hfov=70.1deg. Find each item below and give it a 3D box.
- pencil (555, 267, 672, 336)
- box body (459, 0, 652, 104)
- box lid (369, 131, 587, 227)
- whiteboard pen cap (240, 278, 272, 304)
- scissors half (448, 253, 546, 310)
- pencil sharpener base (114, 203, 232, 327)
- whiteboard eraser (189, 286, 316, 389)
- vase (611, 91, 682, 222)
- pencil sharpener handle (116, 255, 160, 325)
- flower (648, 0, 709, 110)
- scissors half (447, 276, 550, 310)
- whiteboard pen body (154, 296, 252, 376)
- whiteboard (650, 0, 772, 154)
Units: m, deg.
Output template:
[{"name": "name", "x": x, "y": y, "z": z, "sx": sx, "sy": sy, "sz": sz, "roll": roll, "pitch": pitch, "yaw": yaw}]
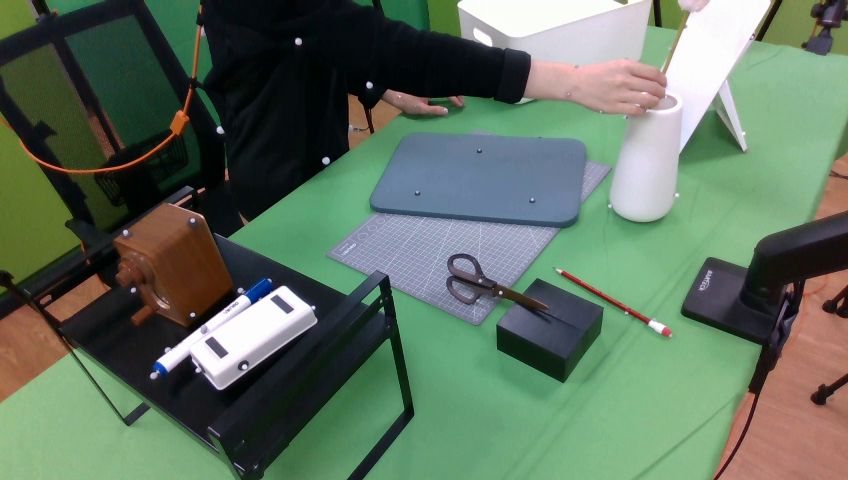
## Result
[{"name": "pencil", "x": 0.261, "y": 0.082, "z": 0.851, "sx": 0.012, "sy": 0.012, "sz": 0.192, "roll": -33, "pitch": 45, "yaw": -27}, {"name": "box body", "x": 0.291, "y": -0.465, "z": 1.371, "sx": 0.365, "sy": 0.161, "sz": 0.252, "roll": -22, "pitch": 42, "yaw": -16}, {"name": "box lid", "x": 0.107, "y": -0.120, "z": 1.107, "sx": 0.370, "sy": 0.015, "sz": 0.263, "roll": 5, "pitch": 42, "yaw": 14}, {"name": "whiteboard pen cap", "x": -0.183, "y": 0.057, "z": 0.658, "sx": 0.018, "sy": 0.018, "sz": 0.033, "roll": 19, "pitch": 44, "yaw": 28}, {"name": "scissors half", "x": 0.098, "y": 0.058, "z": 0.821, "sx": 0.173, "sy": 0.040, "sz": 0.013, "roll": 27, "pitch": 34, "yaw": 37}, {"name": "pencil sharpener base", "x": -0.262, "y": 0.029, "z": 0.635, "sx": 0.061, "sy": 0.107, "sz": 0.077, "roll": 18, "pitch": 47, "yaw": 26}, {"name": "whiteboard eraser", "x": -0.166, "y": 0.096, "z": 0.593, "sx": 0.113, "sy": 0.042, "sz": 0.055, "roll": -36, "pitch": 47, "yaw": -29}, {"name": "vase", "x": 0.348, "y": -0.125, "z": 0.935, "sx": 0.098, "sy": 0.201, "sz": 0.097, "roll": -3, "pitch": 40, "yaw": 3}, {"name": "pencil sharpener handle", "x": -0.286, "y": 0.050, "z": 0.594, "sx": 0.035, "sy": 0.068, "sz": 0.031, "roll": 7, "pitch": 41, "yaw": 35}, {"name": "flower", "x": 0.324, "y": -0.210, "z": 0.844, "sx": 0.044, "sy": 0.363, "sz": 0.038, "roll": -10, "pitch": 52, "yaw": -9}, {"name": "scissors half", "x": 0.098, "y": 0.077, "z": 0.827, "sx": 0.174, "sy": 0.040, "sz": 0.013, "roll": 7, "pitch": 15, "yaw": 45}, {"name": "whiteboard pen body", "x": -0.214, "y": 0.089, "z": 0.619, "sx": 0.017, "sy": 0.017, "sz": 0.141, "roll": 19, "pitch": 42, "yaw": 28}, {"name": "whiteboard", "x": 0.543, "y": -0.298, "z": 1.076, "sx": 0.144, "sy": 0.305, "sz": 0.216, "roll": 12, "pitch": 40, "yaw": -7}]
